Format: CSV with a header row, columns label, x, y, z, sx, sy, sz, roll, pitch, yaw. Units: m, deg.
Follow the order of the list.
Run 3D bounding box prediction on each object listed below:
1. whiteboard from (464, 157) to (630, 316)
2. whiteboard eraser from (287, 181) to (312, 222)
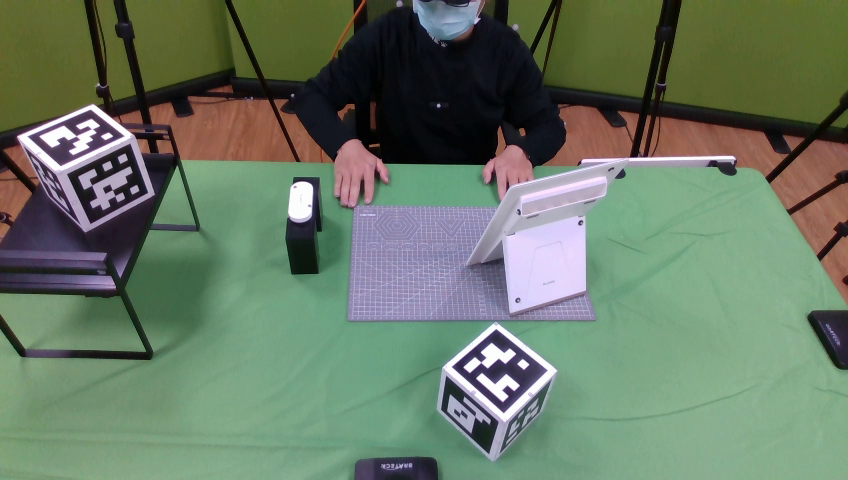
label,x,y,z,sx,sy,sz,roll,pitch,yaw
whiteboard,0.224,0.014,1.043,0.217,0.306,0.143,-14,68,-17
whiteboard eraser,-0.227,-0.071,1.111,0.041,0.019,0.100,-2,46,-4
